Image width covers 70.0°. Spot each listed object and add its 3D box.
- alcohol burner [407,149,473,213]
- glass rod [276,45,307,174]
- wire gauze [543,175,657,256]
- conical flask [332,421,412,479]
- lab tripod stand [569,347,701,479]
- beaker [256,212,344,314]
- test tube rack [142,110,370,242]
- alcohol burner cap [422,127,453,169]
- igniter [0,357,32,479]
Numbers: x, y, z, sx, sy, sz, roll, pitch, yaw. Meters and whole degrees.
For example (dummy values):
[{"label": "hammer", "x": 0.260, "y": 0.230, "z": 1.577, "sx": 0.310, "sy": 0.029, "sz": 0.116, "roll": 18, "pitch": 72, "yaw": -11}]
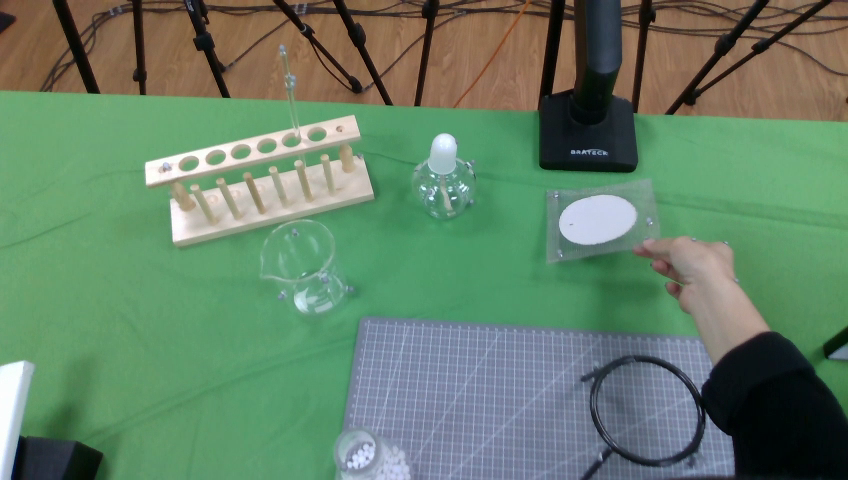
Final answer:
[{"label": "alcohol burner", "x": 0.018, "y": -0.085, "z": 0.700, "sx": 0.078, "sy": 0.120, "sz": 0.077, "roll": -1, "pitch": 58, "yaw": 1}, {"label": "glass rod", "x": -0.145, "y": -0.136, "z": 0.676, "sx": 0.008, "sy": 0.201, "sz": 0.008, "roll": 1, "pitch": 58, "yaw": -2}, {"label": "wire gauze", "x": 0.197, "y": -0.033, "z": 0.690, "sx": 0.121, "sy": 0.011, "sz": 0.124, "roll": -6, "pitch": 40, "yaw": 18}, {"label": "conical flask", "x": -0.052, "y": 0.192, "z": 0.532, "sx": 0.075, "sy": 0.123, "sz": 0.074, "roll": -1, "pitch": 59, "yaw": 3}, {"label": "lab tripod stand", "x": 0.180, "y": 0.159, "z": 0.534, "sx": 0.148, "sy": 0.132, "sz": 0.147, "roll": 0, "pitch": 58, "yaw": 1}, {"label": "beaker", "x": -0.129, "y": 0.031, "z": 0.647, "sx": 0.084, "sy": 0.101, "sz": 0.073, "roll": -35, "pitch": 63, "yaw": -16}, {"label": "test tube rack", "x": -0.193, "y": -0.075, "z": 0.720, "sx": 0.242, "sy": 0.086, "sz": 0.066, "roll": -15, "pitch": 60, "yaw": -6}, {"label": "alcohol burner cap", "x": 0.017, "y": -0.105, "z": 0.670, "sx": 0.034, "sy": 0.048, "sz": 0.033, "roll": 3, "pitch": 59, "yaw": -5}, {"label": "igniter", "x": -0.385, "y": 0.236, "z": 0.525, "sx": 0.057, "sy": 0.025, "sz": 0.274, "roll": -14, "pitch": 59, "yaw": 7}]
